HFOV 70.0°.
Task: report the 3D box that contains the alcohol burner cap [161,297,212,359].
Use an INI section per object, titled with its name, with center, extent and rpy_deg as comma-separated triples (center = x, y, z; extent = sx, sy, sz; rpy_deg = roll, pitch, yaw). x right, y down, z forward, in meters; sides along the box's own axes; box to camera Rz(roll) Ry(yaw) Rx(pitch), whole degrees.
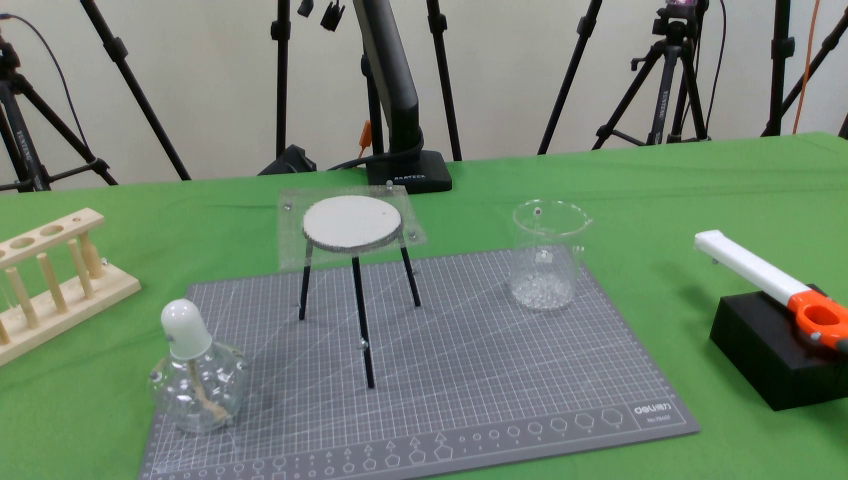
[alcohol burner cap]
center = -0.189, 0.066, 0.475
extent = 0.034, 0.048, 0.033
rpy_deg = -1, 37, 1

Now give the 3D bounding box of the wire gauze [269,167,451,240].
[wire gauze]
center = -0.057, -0.032, 0.519
extent = 0.125, 0.011, 0.120
rpy_deg = -12, 30, -30

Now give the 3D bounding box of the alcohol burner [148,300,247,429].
[alcohol burner]
center = -0.187, 0.096, 0.495
extent = 0.078, 0.120, 0.077
rpy_deg = 1, 32, 0

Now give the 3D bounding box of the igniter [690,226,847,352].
[igniter]
center = 0.344, 0.056, 0.544
extent = 0.057, 0.025, 0.273
rpy_deg = -11, 31, -15

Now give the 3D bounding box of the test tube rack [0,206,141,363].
[test tube rack]
center = -0.413, 0.060, 0.587
extent = 0.066, 0.086, 0.242
rpy_deg = 21, 38, 30

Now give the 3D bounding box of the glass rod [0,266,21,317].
[glass rod]
center = -0.410, -0.003, 0.562
extent = 0.008, 0.201, 0.008
rpy_deg = 3, 34, -2

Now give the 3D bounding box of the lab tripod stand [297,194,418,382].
[lab tripod stand]
center = -0.061, 0.037, 0.567
extent = 0.148, 0.132, 0.147
rpy_deg = 1, 33, 0

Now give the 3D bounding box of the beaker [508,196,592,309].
[beaker]
center = 0.127, 0.014, 0.630
extent = 0.084, 0.101, 0.073
rpy_deg = -2, 33, -2
